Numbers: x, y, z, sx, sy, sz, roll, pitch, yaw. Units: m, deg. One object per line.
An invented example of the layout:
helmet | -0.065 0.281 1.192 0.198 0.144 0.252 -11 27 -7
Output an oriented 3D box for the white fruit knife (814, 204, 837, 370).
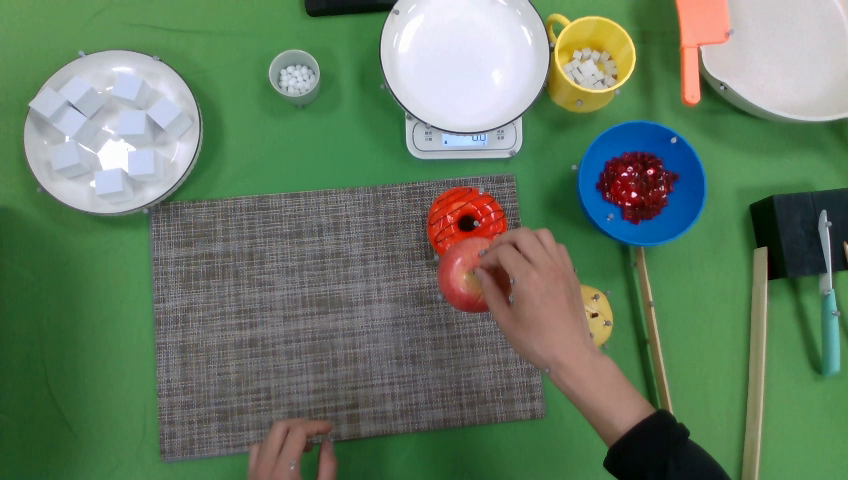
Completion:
white fruit knife | 0.480 0.059 0.729 0.016 0.027 0.207 -8 96 -4

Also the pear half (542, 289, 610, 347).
pear half | 0.173 0.094 0.692 0.076 0.110 0.056 25 81 6

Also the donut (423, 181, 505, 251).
donut | 0.048 -0.023 0.733 0.099 0.048 0.098 0 82 0

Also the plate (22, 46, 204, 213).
plate | -0.370 -0.131 0.735 0.208 0.039 0.207 1 81 -3

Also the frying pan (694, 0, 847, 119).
frying pan | 0.523 -0.205 0.759 0.307 0.103 0.485 -32 76 -6

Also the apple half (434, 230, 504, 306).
apple half | 0.039 0.023 0.631 0.053 0.074 0.081 32 88 -3

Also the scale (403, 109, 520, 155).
scale | 0.046 -0.208 0.772 0.149 0.031 0.200 -1 82 -3

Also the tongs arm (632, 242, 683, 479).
tongs arm | 0.301 0.189 0.721 0.051 0.026 0.383 -5 82 -7

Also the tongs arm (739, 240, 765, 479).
tongs arm | 0.387 0.189 0.729 0.028 0.028 0.386 10 81 -8

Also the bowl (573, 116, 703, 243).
bowl | 0.248 -0.066 0.737 0.151 0.077 0.151 0 82 -3

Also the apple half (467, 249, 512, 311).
apple half | 0.073 0.044 0.636 0.033 0.081 0.081 25 80 6

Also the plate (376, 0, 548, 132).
plate | 0.046 -0.228 0.742 0.209 0.038 0.208 1 81 -3

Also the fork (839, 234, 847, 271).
fork | 0.533 0.093 0.734 0.028 0.018 0.208 -15 98 -8

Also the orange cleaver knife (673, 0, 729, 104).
orange cleaver knife | 0.334 -0.269 0.742 0.077 0.012 0.210 -1 82 0

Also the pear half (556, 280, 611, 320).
pear half | 0.190 0.065 0.707 0.070 0.088 0.031 24 81 4

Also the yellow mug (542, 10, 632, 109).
yellow mug | 0.193 -0.237 0.766 0.100 0.064 0.130 -38 84 -7

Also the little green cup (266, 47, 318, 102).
little green cup | -0.162 -0.204 0.757 0.061 0.039 0.061 0 81 -2
